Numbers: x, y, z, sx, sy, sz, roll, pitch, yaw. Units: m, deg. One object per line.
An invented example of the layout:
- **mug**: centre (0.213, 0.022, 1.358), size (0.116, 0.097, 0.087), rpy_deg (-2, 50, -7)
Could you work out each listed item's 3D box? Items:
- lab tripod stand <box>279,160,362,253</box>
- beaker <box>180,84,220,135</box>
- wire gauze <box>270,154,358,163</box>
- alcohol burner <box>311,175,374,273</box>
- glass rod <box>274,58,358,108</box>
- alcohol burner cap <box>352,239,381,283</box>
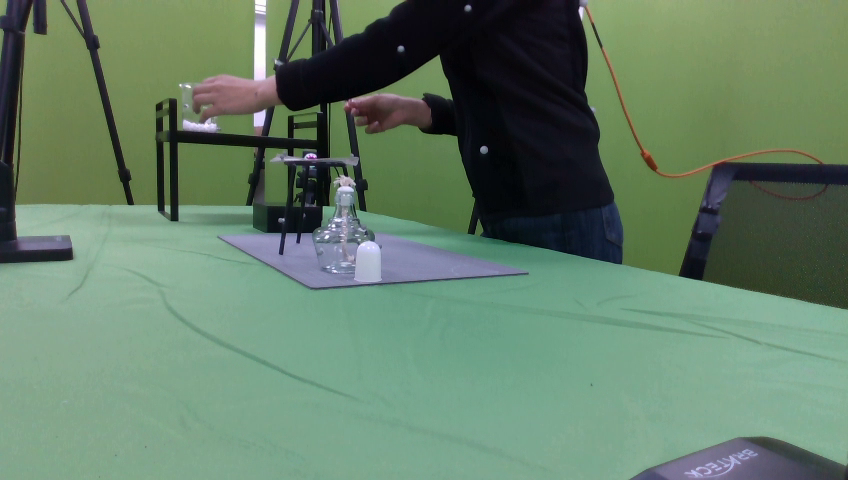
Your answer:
- **lab tripod stand**: centre (-0.166, -0.052, 0.897), size (0.148, 0.131, 0.148), rpy_deg (0, 7, 0)
- **beaker**: centre (-0.475, -0.275, 1.281), size (0.073, 0.100, 0.084), rpy_deg (7, 9, 36)
- **wire gauze**: centre (-0.159, -0.118, 0.886), size (0.122, 0.011, 0.125), rpy_deg (1, 7, -9)
- **alcohol burner**: centre (-0.100, -0.020, 0.740), size (0.078, 0.119, 0.078), rpy_deg (0, 5, 0)
- **glass rod**: centre (-0.213, -0.313, 1.217), size (0.201, 0.008, 0.008), rpy_deg (25, -7, -35)
- **alcohol burner cap**: centre (-0.065, 0.023, 0.689), size (0.034, 0.048, 0.034), rpy_deg (2, 9, 0)
